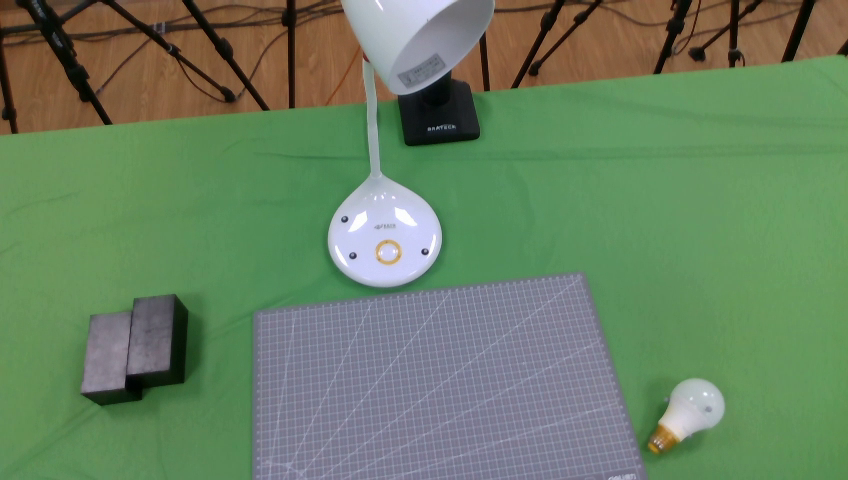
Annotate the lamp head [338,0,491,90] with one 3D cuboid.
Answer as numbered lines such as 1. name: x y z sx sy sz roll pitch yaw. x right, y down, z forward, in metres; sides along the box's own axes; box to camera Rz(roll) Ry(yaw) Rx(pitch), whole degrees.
1. lamp head: -0.022 -0.203 0.505 0.112 0.113 0.122 -36 76 -19

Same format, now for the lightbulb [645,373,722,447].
1. lightbulb: 0.304 0.204 0.719 0.107 0.060 0.059 -43 69 -5

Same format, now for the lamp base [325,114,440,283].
1. lamp base: -0.061 -0.061 0.787 0.161 0.182 0.177 -14 59 -9
